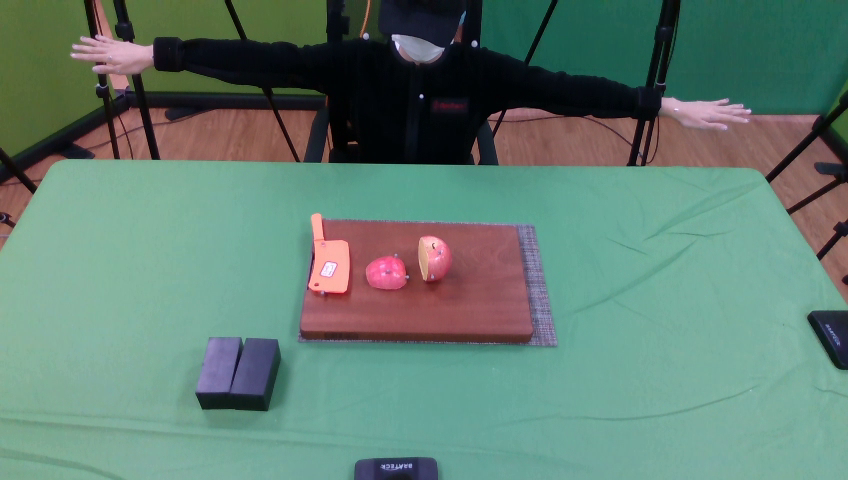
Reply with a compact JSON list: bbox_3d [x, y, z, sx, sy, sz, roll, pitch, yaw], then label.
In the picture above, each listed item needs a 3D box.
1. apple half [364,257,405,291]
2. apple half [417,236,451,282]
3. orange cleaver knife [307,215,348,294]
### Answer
[{"bbox_3d":[-0.070,0.054,1.095,0.081,0.033,0.081,4,45,-4],"label":"apple half"},{"bbox_3d":[0.020,0.035,1.092,0.053,0.075,0.080,-4,42,-14],"label":"apple half"},{"bbox_3d":[-0.180,0.023,1.126,0.077,0.012,0.210,-6,44,-7],"label":"orange cleaver knife"}]
